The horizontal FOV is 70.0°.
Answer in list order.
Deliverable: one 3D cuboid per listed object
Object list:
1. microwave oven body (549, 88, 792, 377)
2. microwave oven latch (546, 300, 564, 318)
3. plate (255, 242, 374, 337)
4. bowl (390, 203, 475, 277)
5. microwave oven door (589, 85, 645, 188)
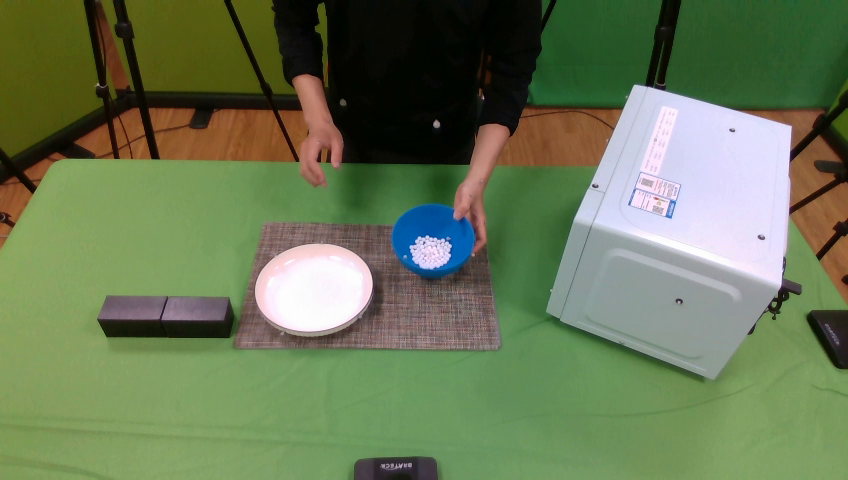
[{"bbox_3d":[0.456,-0.028,1.088,0.325,0.261,0.440,20,47,16],"label":"microwave oven body"},{"bbox_3d":[0.242,0.102,1.081,0.030,0.029,0.079,21,48,17],"label":"microwave oven latch"},{"bbox_3d":[-0.192,0.090,1.079,0.208,0.039,0.206,2,46,-2],"label":"plate"},{"bbox_3d":[0.015,0.015,1.104,0.151,0.077,0.150,1,53,-1],"label":"bowl"},{"bbox_3d":[0.342,-0.107,1.149,0.039,0.245,0.354,20,48,15],"label":"microwave oven door"}]
